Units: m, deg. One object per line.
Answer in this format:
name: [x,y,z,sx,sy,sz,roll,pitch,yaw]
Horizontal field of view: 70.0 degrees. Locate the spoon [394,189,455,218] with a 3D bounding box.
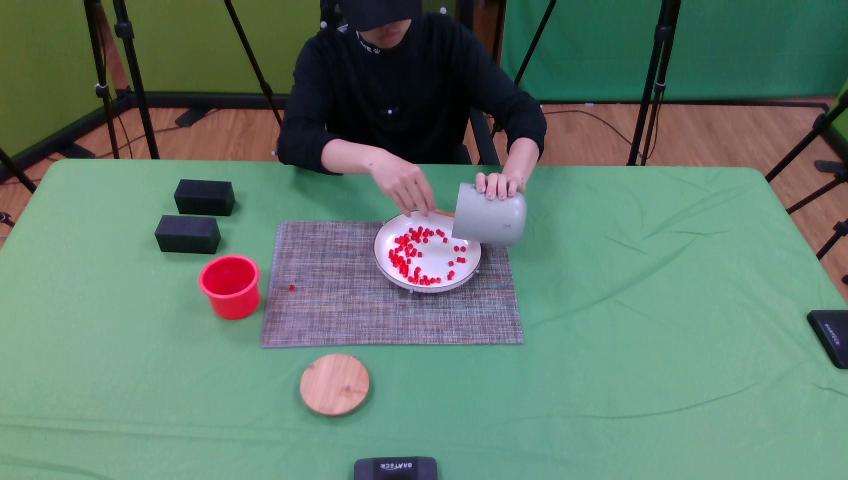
spoon: [0.034,-0.053,1.117,0.194,0.021,0.041,18,16,-8]

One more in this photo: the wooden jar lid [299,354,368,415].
wooden jar lid: [-0.143,0.232,0.964,0.108,0.021,0.107,2,45,-2]

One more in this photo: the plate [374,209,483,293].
plate: [0.008,0.024,1.158,0.208,0.039,0.206,2,46,-2]

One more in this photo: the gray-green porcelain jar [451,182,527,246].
gray-green porcelain jar: [0.120,-0.046,1.112,0.126,0.106,0.105,9,46,3]
